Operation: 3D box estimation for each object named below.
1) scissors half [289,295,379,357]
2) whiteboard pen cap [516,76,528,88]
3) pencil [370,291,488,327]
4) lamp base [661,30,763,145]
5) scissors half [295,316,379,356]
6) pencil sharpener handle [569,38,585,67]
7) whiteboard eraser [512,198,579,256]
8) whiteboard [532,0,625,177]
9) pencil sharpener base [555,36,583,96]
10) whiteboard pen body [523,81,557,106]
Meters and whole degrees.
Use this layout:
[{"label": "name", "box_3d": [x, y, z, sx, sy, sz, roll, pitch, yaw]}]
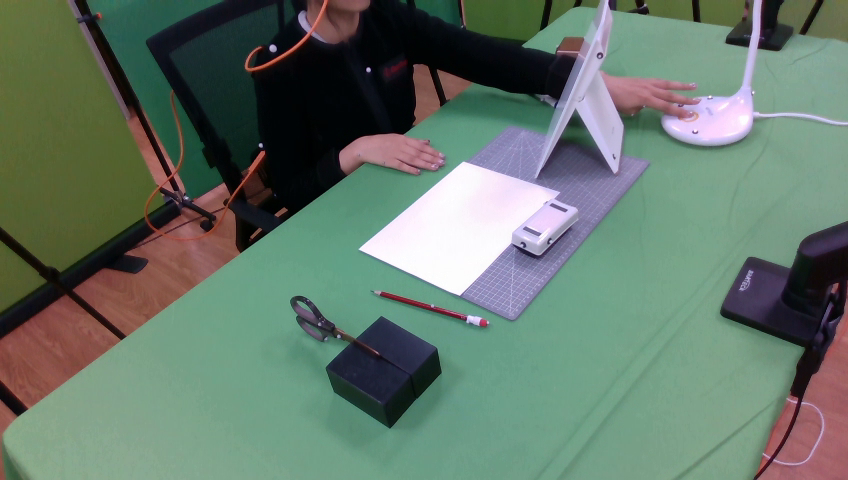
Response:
[{"label": "scissors half", "box_3d": [-0.122, 0.114, 0.803, 0.174, 0.040, 0.013, 26, 50, 32]}, {"label": "whiteboard pen cap", "box_3d": [0.220, -0.354, 1.352, 0.018, 0.018, 0.033, -23, 45, -16]}, {"label": "pencil", "box_3d": [0.003, 0.097, 0.877, 0.193, 0.012, 0.012, 13, 45, 26]}, {"label": "lamp base", "box_3d": [0.535, -0.287, 1.096, 0.179, 0.181, 0.159, -10, 40, -4]}, {"label": "scissors half", "box_3d": [-0.119, 0.132, 0.813, 0.174, 0.040, 0.013, 9, 34, 45]}, {"label": "pencil sharpener handle", "box_3d": [0.332, -0.413, 1.317, 0.036, 0.068, 0.030, 20, 46, 12]}, {"label": "whiteboard eraser", "box_3d": [0.191, -0.019, 0.949, 0.055, 0.042, 0.113, 26, 51, 36]}, {"label": "whiteboard", "box_3d": [0.320, -0.258, 1.050, 0.144, 0.306, 0.217, 21, 45, 4]}, {"label": "pencil sharpener base", "box_3d": [0.318, -0.371, 1.290, 0.061, 0.107, 0.076, 10, 43, 22]}, {"label": "whiteboard pen body", "box_3d": [0.249, -0.321, 1.313, 0.017, 0.017, 0.139, -24, 44, -17]}]
